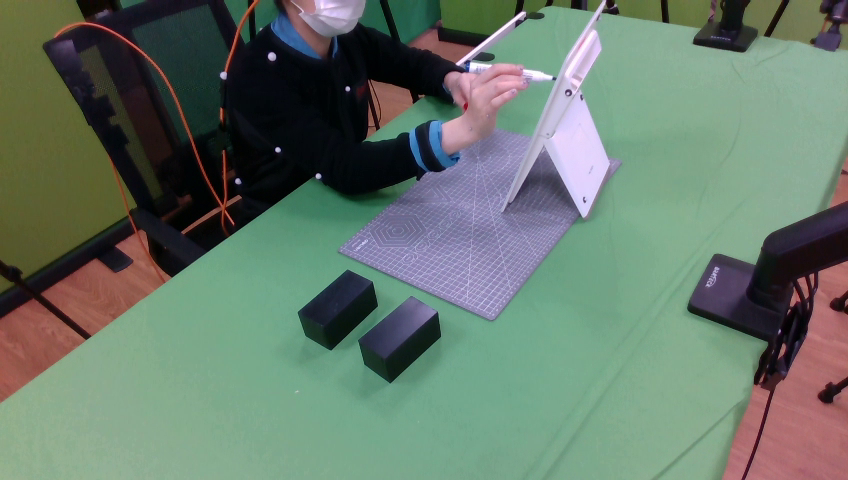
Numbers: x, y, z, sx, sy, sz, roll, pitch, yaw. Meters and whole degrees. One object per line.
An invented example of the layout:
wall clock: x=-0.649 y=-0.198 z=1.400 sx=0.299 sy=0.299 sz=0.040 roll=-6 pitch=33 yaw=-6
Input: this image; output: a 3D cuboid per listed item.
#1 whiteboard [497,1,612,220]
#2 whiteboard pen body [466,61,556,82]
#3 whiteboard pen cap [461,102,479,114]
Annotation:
whiteboard: x=0.260 y=-0.177 z=0.963 sx=0.143 sy=0.306 sz=0.217 roll=28 pitch=49 yaw=9
whiteboard pen body: x=0.134 y=-0.255 z=0.921 sx=0.140 sy=0.017 sz=0.017 roll=10 pitch=42 yaw=5
whiteboard pen cap: x=0.086 y=-0.249 z=1.148 sx=0.032 sy=0.017 sz=0.017 roll=-25 pitch=43 yaw=-30
